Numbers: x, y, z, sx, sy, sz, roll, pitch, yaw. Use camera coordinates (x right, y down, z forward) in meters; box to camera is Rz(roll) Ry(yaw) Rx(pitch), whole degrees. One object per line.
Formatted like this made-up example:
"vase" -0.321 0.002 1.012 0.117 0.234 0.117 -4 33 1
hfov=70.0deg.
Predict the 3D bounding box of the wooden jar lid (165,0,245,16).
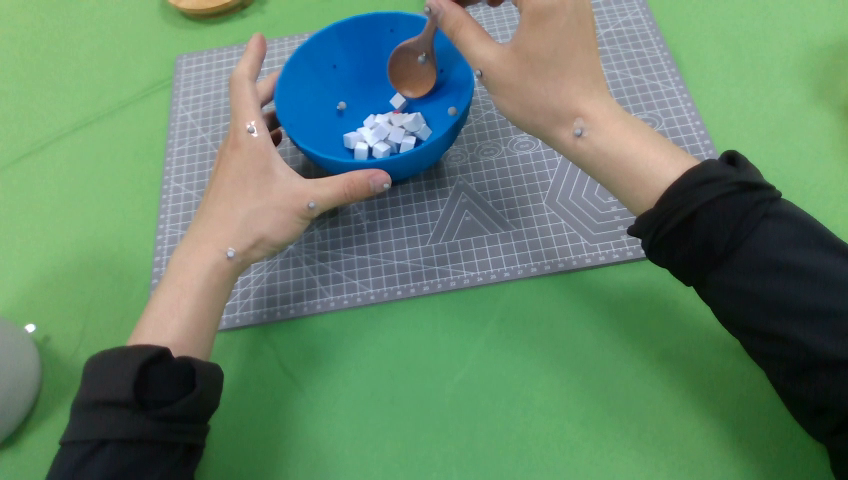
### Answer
"wooden jar lid" -0.221 -0.273 0.631 0.108 0.021 0.107 -2 61 4

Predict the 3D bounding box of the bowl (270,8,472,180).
"bowl" -0.035 -0.100 0.476 0.151 0.077 0.150 -3 61 5

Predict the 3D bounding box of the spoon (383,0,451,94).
"spoon" 0.006 -0.148 0.404 0.042 0.193 0.021 35 73 -6

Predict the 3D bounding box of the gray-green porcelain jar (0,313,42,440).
"gray-green porcelain jar" -0.326 0.081 0.386 0.106 0.127 0.105 -3 60 6
